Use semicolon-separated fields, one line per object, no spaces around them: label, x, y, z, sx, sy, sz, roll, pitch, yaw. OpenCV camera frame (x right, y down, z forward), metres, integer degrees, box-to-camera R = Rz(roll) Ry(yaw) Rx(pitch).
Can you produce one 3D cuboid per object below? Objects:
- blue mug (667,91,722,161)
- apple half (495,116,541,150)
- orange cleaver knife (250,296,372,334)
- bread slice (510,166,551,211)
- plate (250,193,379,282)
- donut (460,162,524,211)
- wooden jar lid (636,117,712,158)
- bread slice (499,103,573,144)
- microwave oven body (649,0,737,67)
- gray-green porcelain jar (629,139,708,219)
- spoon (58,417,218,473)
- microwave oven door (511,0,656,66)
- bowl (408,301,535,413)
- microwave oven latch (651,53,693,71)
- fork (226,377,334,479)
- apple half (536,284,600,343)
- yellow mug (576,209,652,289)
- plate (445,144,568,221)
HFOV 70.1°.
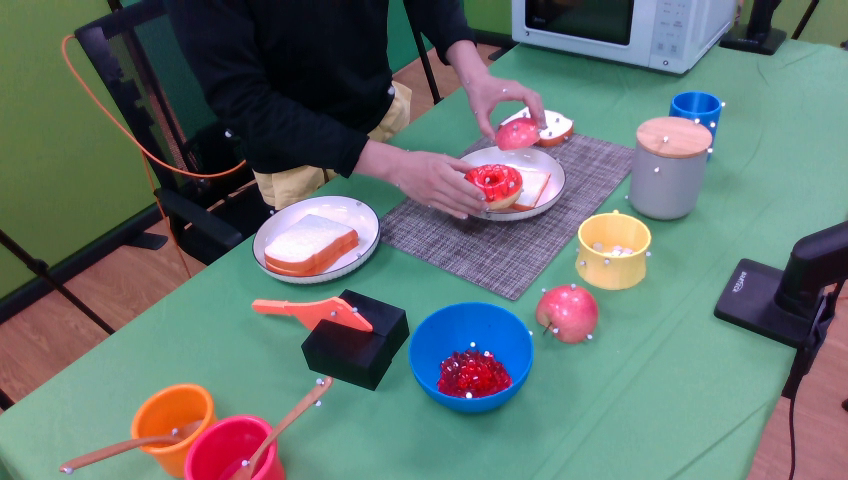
blue mug;0.474;-0.207;1.079;0.082;0.106;0.116;4;42;13
apple half;0.150;-0.180;0.982;0.081;0.033;0.081;-14;38;12
orange cleaver knife;-0.158;0.103;0.828;0.210;0.078;0.012;-4;43;39
bread slice;0.140;-0.092;1.042;0.133;0.018;0.107;11;43;20
plate;-0.174;-0.001;0.984;0.209;0.038;0.208;-4;40;3
donut;0.104;-0.084;0.927;0.099;0.048;0.098;-7;43;7
wooden jar lid;0.377;-0.151;0.917;0.108;0.021;0.108;-2;41;2
bread slice;0.231;-0.232;1.205;0.105;0.019;0.130;-36;47;-28
microwave oven body;0.475;-0.602;1.411;0.438;0.261;0.327;23;50;32
gray-green porcelain jar;0.383;-0.105;0.958;0.106;0.127;0.105;-4;41;4
spoon;-0.304;0.221;0.661;0.041;0.195;0.021;19;92;27
microwave oven door;0.351;-0.539;1.348;0.353;0.245;0.039;24;50;31
bowl;0.059;0.156;0.739;0.151;0.077;0.150;-4;40;4
microwave oven latch;0.532;-0.386;1.301;0.078;0.029;0.030;27;52;34
fork;-0.163;0.216;0.647;0.207;0.019;0.028;-49;41;16
apple half;0.196;0.091;0.815;0.075;0.053;0.080;-22;42;-20
yellow mug;0.279;0.004;0.893;0.099;0.064;0.130;5;41;15
plate;0.142;-0.096;1.046;0.207;0.039;0.206;-4;40;4
